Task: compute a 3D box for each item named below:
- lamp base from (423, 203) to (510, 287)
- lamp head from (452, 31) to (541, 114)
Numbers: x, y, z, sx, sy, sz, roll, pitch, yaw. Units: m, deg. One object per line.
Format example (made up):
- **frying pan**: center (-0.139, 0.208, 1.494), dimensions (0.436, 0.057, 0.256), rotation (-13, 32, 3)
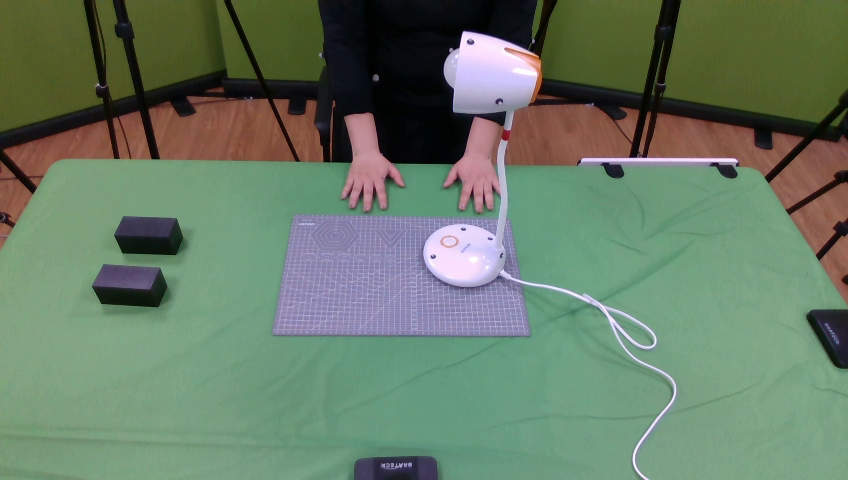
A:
- **lamp base**: center (0.092, -0.021, 1.111), dimensions (0.179, 0.181, 0.160), rotation (23, 49, 14)
- **lamp head**: center (0.102, -0.228, 0.858), dimensions (0.123, 0.113, 0.112), rotation (11, 46, 0)
